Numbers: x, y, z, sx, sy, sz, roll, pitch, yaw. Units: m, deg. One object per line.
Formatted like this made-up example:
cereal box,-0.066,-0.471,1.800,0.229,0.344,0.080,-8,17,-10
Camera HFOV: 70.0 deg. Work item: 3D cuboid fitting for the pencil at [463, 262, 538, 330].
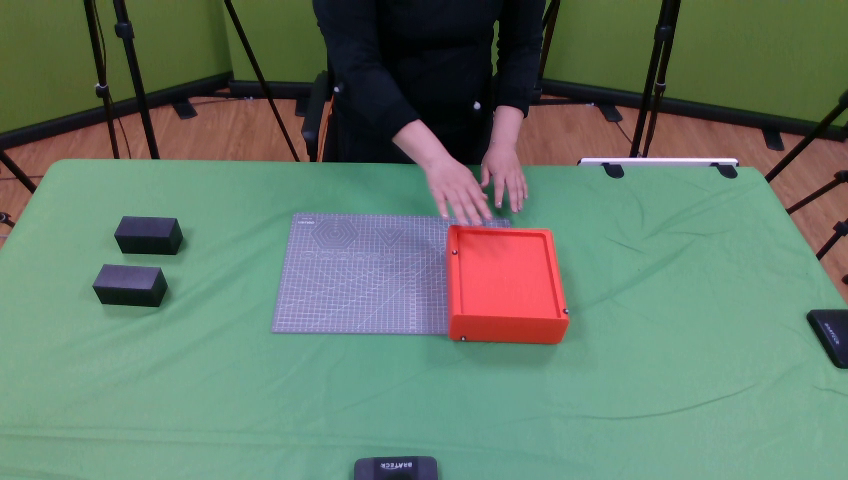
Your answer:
pencil,0.135,0.098,1.098,0.012,0.012,0.193,-28,54,-28

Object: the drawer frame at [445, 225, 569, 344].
drawer frame,0.141,0.076,1.089,0.202,0.083,0.212,3,47,-4

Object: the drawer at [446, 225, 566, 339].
drawer,0.139,0.072,1.094,0.194,0.073,0.210,3,47,-3
